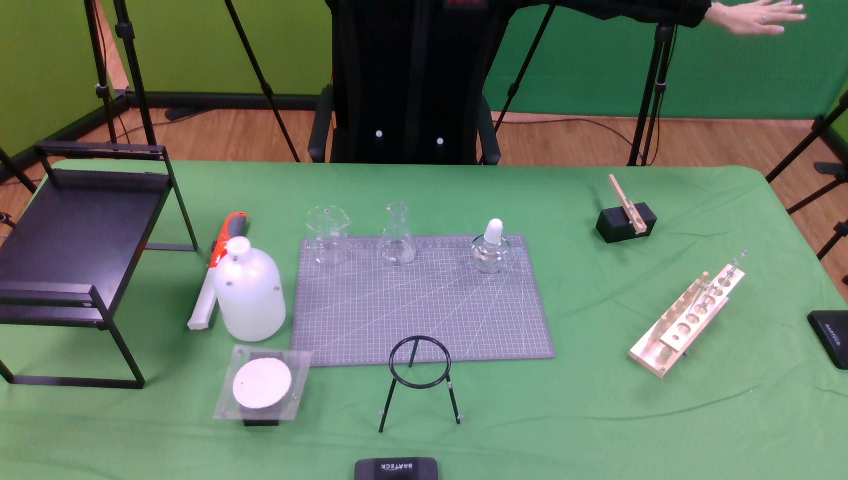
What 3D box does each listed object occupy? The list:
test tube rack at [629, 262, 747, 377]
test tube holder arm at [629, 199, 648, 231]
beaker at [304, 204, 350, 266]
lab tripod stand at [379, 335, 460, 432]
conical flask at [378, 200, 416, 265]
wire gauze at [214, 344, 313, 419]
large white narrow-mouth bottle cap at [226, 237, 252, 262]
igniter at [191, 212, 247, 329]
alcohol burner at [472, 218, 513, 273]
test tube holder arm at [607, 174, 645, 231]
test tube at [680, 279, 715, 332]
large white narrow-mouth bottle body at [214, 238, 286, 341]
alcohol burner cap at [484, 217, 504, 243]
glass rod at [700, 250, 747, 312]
[{"bbox_3d":[0.464,0.126,1.061,0.242,0.085,0.066,-34,56,-30],"label":"test tube rack"},{"bbox_3d":[0.423,-0.050,1.206,0.010,0.015,0.087,1,41,-12],"label":"test tube holder arm"},{"bbox_3d":[-0.178,-0.006,1.132,0.084,0.101,0.073,4,46,-1],"label":"beaker"},{"bbox_3d":[-0.010,0.214,0.911,0.148,0.132,0.147,1,45,0],"label":"lab tripod stand"},{"bbox_3d":[-0.050,-0.018,1.136,0.075,0.122,0.075,2,46,-2],"label":"conical flask"},{"bbox_3d":[-0.241,0.213,0.916,0.121,0.011,0.124,5,46,1],"label":"wire gauze"},{"bbox_3d":[-0.282,0.014,0.923,0.038,0.024,0.037,2,46,-2],"label":"large white narrow-mouth bottle cap"},{"bbox_3d":[-0.376,0.047,1.121,0.057,0.025,0.275,-4,46,6],"label":"igniter"},{"bbox_3d":[0.128,0.005,1.132,0.078,0.120,0.077,0,47,0],"label":"alcohol burner"},{"bbox_3d":[0.411,-0.080,1.238,0.013,0.015,0.177,1,41,-13],"label":"test tube holder arm"},{"bbox_3d":[0.445,0.119,0.997,0.017,0.151,0.017,1,43,-1],"label":"test tube"},{"bbox_3d":[-0.285,0.073,0.986,0.102,0.195,0.101,2,46,-2],"label":"large white narrow-mouth bottle body"},{"bbox_3d":[0.130,-0.021,1.107,0.034,0.048,0.033,5,46,-5],"label":"alcohol burner cap"},{"bbox_3d":[0.500,0.075,1.021,0.008,0.201,0.008,0,54,1],"label":"glass rod"}]
